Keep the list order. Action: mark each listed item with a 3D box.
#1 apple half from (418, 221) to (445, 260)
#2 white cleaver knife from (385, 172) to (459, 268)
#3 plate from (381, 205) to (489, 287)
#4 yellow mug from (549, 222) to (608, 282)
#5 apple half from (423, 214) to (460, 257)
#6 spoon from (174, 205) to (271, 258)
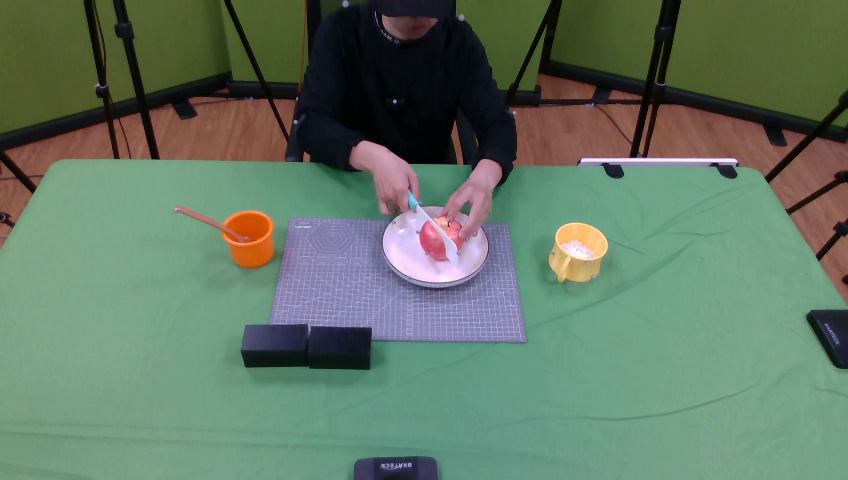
[{"bbox_3d":[0.008,0.007,1.140,0.033,0.082,0.081,-22,51,-19],"label":"apple half"},{"bbox_3d":[-0.009,-0.043,1.171,0.021,0.066,0.284,-21,45,-18],"label":"white cleaver knife"},{"bbox_3d":[0.021,0.015,1.170,0.209,0.038,0.208,2,46,-2],"label":"plate"},{"bbox_3d":[0.287,0.031,1.159,0.099,0.064,0.130,27,51,21],"label":"yellow mug"},{"bbox_3d":[0.038,-0.009,1.153,0.053,0.075,0.080,-17,50,-38],"label":"apple half"},{"bbox_3d":[-0.362,-0.017,1.098,0.021,0.195,0.041,-33,42,27],"label":"spoon"}]
